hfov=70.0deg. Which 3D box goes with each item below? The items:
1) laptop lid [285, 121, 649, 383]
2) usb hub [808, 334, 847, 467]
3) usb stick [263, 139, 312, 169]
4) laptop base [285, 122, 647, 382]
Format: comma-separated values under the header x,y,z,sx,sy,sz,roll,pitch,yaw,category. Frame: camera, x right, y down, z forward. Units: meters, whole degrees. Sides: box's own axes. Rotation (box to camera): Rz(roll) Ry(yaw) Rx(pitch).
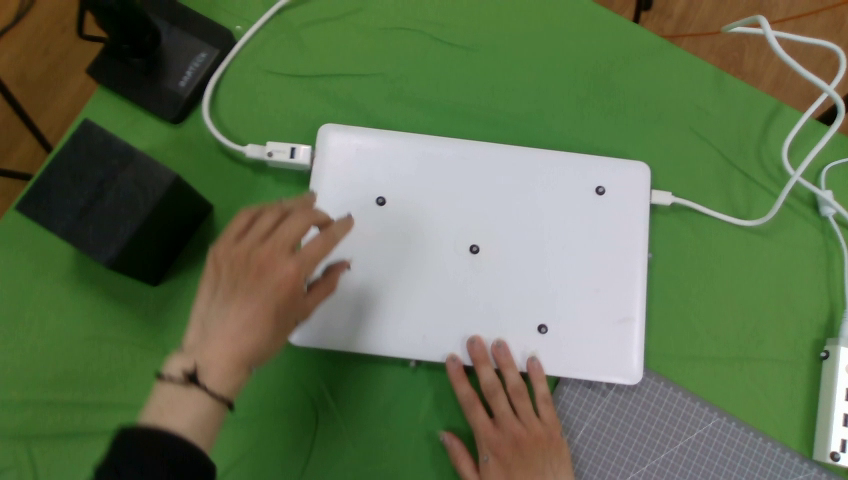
x,y,z,sx,sy,sz,roll,pitch,yaw,category
0.049,0.009,0.614,0.357,0.013,0.240,8,80,-1,laptop lid
0.421,0.160,0.606,0.049,0.025,0.124,14,78,1,usb hub
-0.133,-0.088,0.624,0.059,0.027,0.021,7,78,-7,usb stick
0.049,0.009,0.626,0.354,0.023,0.234,7,81,-1,laptop base
